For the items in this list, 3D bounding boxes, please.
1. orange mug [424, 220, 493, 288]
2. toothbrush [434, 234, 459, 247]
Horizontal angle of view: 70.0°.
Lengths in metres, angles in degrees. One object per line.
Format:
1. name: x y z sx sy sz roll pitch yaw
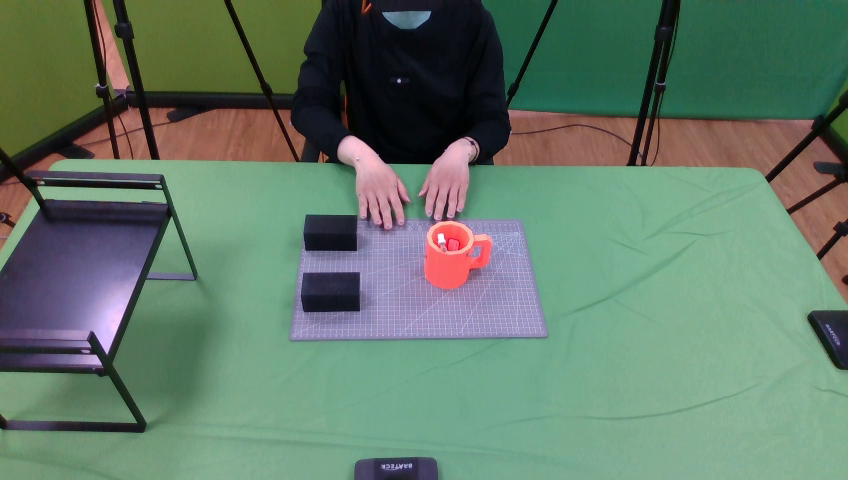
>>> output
1. orange mug: 0.063 0.023 1.119 0.126 0.101 0.083 -9 47 -7
2. toothbrush: 0.042 0.003 1.069 0.016 0.182 0.014 37 96 11
